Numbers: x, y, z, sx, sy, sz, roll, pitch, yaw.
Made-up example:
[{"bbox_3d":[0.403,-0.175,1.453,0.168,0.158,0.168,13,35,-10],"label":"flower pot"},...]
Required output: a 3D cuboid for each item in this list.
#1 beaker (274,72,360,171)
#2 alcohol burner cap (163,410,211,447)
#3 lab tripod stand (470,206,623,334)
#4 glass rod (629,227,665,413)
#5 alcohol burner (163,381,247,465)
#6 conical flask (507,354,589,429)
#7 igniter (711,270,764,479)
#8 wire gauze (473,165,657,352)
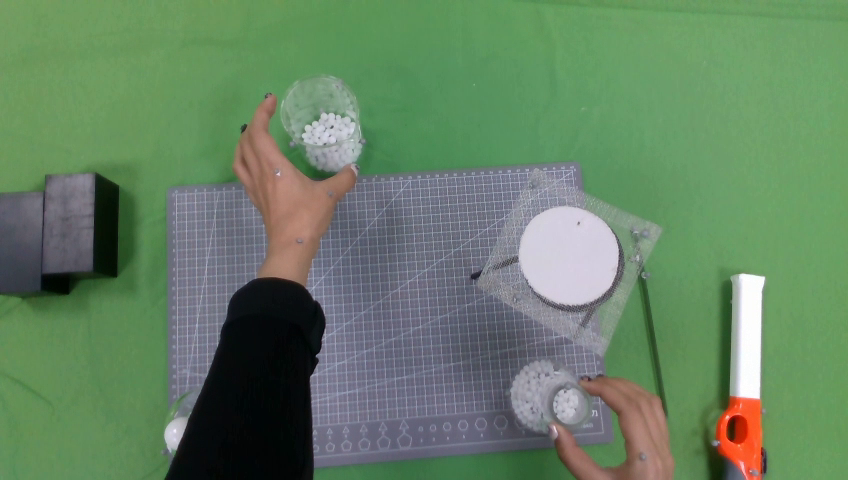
[{"bbox_3d":[-0.101,-0.115,0.621,0.084,0.100,0.074,32,81,3],"label":"beaker"},{"bbox_3d":[-0.207,0.163,0.526,0.034,0.048,0.033,1,73,-3],"label":"alcohol burner cap"},{"bbox_3d":[0.122,0.026,0.585,0.148,0.132,0.148,0,82,0],"label":"lab tripod stand"},{"bbox_3d":[0.237,0.083,0.646,0.008,0.008,0.199,-6,81,-3],"label":"glass rod"},{"bbox_3d":[-0.208,0.171,0.561,0.078,0.119,0.077,0,82,0],"label":"alcohol burner"},{"bbox_3d":[0.122,0.146,0.569,0.075,0.122,0.075,0,81,0],"label":"conical flask"},{"bbox_3d":[0.325,0.168,0.626,0.057,0.025,0.275,9,80,-11],"label":"igniter"},{"bbox_3d":[0.121,0.013,0.520,0.125,0.011,0.121,28,83,3],"label":"wire gauze"}]
